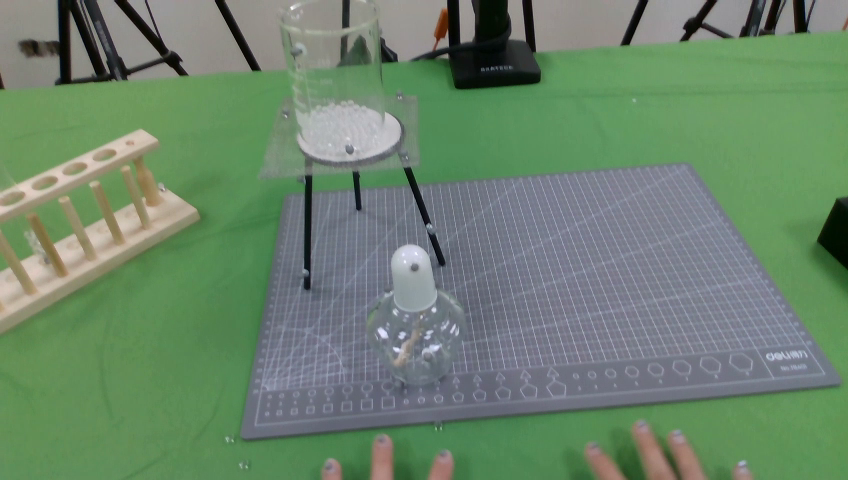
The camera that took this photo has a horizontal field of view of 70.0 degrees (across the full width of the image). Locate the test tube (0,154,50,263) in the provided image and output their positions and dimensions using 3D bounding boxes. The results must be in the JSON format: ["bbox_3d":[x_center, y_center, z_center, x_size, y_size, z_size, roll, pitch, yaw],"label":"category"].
[{"bbox_3d":[-0.365,-0.041,0.534,0.017,0.151,0.017,-4,35,3],"label":"test tube"}]

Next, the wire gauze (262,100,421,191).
[{"bbox_3d":[-0.064,-0.084,0.498,0.121,0.011,0.124,-3,43,0],"label":"wire gauze"}]

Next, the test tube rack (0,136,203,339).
[{"bbox_3d":[-0.340,-0.001,0.563,0.066,0.086,0.242,29,50,32],"label":"test tube rack"}]

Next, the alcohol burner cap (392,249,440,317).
[{"bbox_3d":[-0.007,0.027,0.426,0.034,0.048,0.033,-4,41,4],"label":"alcohol burner cap"}]

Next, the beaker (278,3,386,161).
[{"bbox_3d":[-0.068,-0.119,0.465,0.083,0.101,0.074,25,46,28],"label":"beaker"}]

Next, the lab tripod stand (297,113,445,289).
[{"bbox_3d":[-0.053,-0.036,0.543,0.148,0.132,0.147,-1,39,1],"label":"lab tripod stand"}]

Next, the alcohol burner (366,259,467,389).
[{"bbox_3d":[-0.006,0.055,0.449,0.078,0.120,0.077,-1,42,1],"label":"alcohol burner"}]
